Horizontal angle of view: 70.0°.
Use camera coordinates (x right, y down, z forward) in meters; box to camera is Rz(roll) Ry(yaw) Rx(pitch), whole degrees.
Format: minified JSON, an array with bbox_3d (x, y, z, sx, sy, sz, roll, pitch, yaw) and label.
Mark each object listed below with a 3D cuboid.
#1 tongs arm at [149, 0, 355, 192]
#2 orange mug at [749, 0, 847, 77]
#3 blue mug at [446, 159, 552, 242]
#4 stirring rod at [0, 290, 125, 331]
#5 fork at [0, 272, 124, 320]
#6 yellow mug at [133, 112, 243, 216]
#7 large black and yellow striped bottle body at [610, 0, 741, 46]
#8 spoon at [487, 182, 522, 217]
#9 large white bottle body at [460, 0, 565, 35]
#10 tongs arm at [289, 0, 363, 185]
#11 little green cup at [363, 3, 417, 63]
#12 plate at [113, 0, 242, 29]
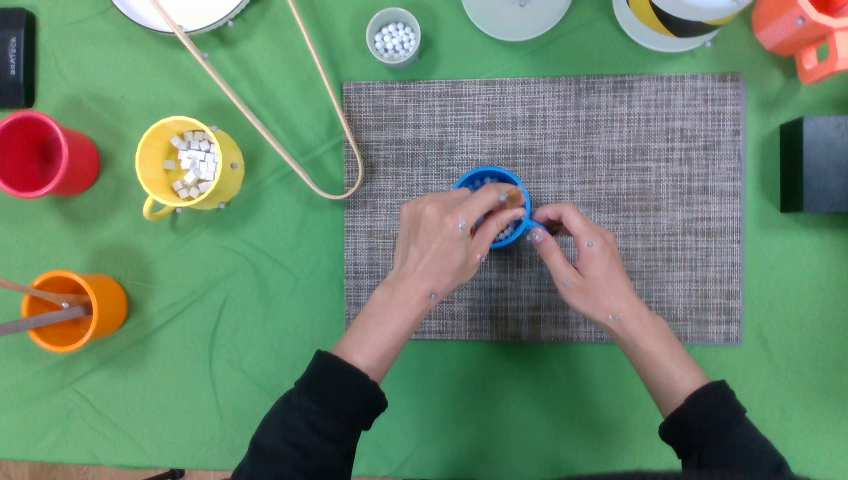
[{"bbox_3d":[-0.220,-0.199,0.684,0.051,0.026,0.385,-38,95,1],"label":"tongs arm"},{"bbox_3d":[0.403,-0.237,0.623,0.083,0.101,0.126,-10,86,5],"label":"orange mug"},{"bbox_3d":[0.083,-0.032,0.646,0.116,0.106,0.082,25,93,4],"label":"blue mug"},{"bbox_3d":[-0.430,0.084,0.677,0.177,0.006,0.014,-15,85,-37],"label":"stirring rod"},{"bbox_3d":[-0.439,0.049,0.670,0.209,0.018,0.028,28,88,-40],"label":"fork"},{"bbox_3d":[-0.279,-0.079,0.697,0.100,0.064,0.131,39,95,2],"label":"yellow mug"},{"bbox_3d":[0.264,-0.280,0.591,0.130,0.184,0.130,0,90,5],"label":"large black and yellow striped bottle body"},{"bbox_3d":[0.081,-0.037,0.576,0.041,0.194,0.021,-15,89,4],"label":"spoon"},{"bbox_3d":[0.093,-0.297,0.603,0.130,0.185,0.130,0,91,5],"label":"large white bottle body"},{"bbox_3d":[-0.149,-0.245,0.681,0.028,0.027,0.388,-25,96,-4],"label":"tongs arm"},{"bbox_3d":[-0.036,-0.232,0.688,0.061,0.038,0.061,0,92,5],"label":"little green cup"},{"bbox_3d":[-0.281,-0.347,0.705,0.207,0.039,0.207,0,92,5],"label":"plate"}]
